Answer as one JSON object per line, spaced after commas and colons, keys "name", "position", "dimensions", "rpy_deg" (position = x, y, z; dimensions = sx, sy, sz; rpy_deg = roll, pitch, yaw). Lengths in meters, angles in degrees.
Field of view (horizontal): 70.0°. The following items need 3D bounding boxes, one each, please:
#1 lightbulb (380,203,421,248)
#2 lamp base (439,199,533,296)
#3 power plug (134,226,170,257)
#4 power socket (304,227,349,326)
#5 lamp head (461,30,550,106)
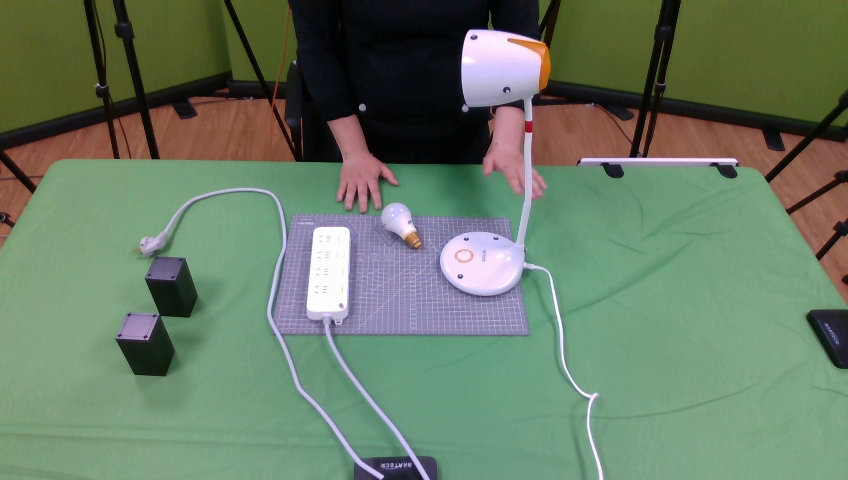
{"name": "lightbulb", "position": [-0.043, -0.026, 1.197], "dimensions": [0.059, 0.060, 0.107], "rpy_deg": [-29, 69, -28]}
{"name": "lamp base", "position": [0.126, -0.011, 1.103], "dimensions": [0.179, 0.181, 0.159], "rpy_deg": [2, 45, -6]}
{"name": "power plug", "position": [-0.515, 0.005, 1.152], "dimensions": [0.052, 0.035, 0.072], "rpy_deg": [-6, 24, 6]}
{"name": "power socket", "position": [-0.177, 0.059, 1.115], "dimensions": [0.072, 0.033, 0.225], "rpy_deg": [-1, 46, -4]}
{"name": "lamp head", "position": [0.122, -0.250, 0.892], "dimensions": [0.123, 0.113, 0.112], "rpy_deg": [8, 45, 14]}
